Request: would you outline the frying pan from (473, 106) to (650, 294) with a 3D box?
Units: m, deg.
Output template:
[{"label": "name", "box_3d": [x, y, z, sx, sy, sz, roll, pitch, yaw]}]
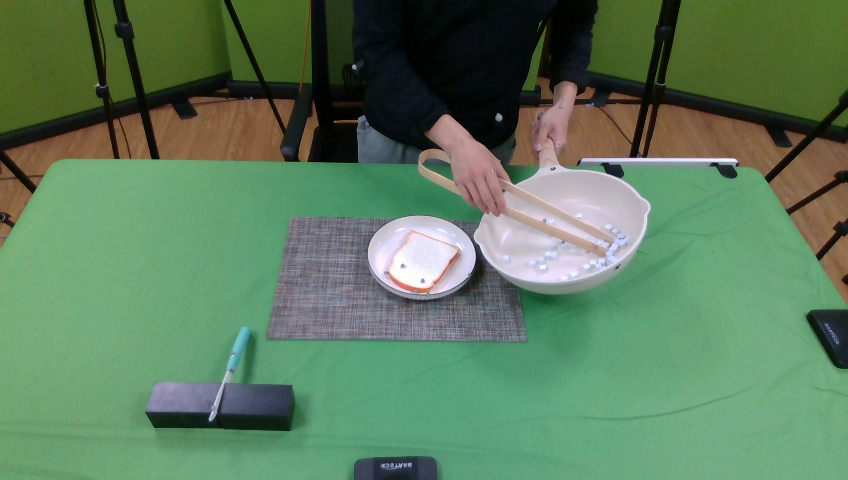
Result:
[{"label": "frying pan", "box_3d": [0.245, -0.094, 1.146, 0.306, 0.103, 0.485, -9, 50, 13]}]

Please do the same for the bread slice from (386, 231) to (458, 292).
[{"label": "bread slice", "box_3d": [-0.007, 0.043, 1.142, 0.107, 0.018, 0.134, 18, 46, 14]}]

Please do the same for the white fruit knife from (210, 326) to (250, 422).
[{"label": "white fruit knife", "box_3d": [-0.301, 0.201, 0.942, 0.016, 0.027, 0.206, 0, 32, -1]}]

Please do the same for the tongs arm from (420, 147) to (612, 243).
[{"label": "tongs arm", "box_3d": [0.162, -0.086, 1.112, 0.386, 0.028, 0.028, 28, 64, 15]}]

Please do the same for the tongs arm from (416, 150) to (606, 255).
[{"label": "tongs arm", "box_3d": [0.150, -0.071, 1.102, 0.384, 0.026, 0.050, 24, 60, 13]}]

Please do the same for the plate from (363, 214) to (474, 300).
[{"label": "plate", "box_3d": [-0.010, 0.036, 1.146, 0.208, 0.039, 0.206, 3, 46, -2]}]
